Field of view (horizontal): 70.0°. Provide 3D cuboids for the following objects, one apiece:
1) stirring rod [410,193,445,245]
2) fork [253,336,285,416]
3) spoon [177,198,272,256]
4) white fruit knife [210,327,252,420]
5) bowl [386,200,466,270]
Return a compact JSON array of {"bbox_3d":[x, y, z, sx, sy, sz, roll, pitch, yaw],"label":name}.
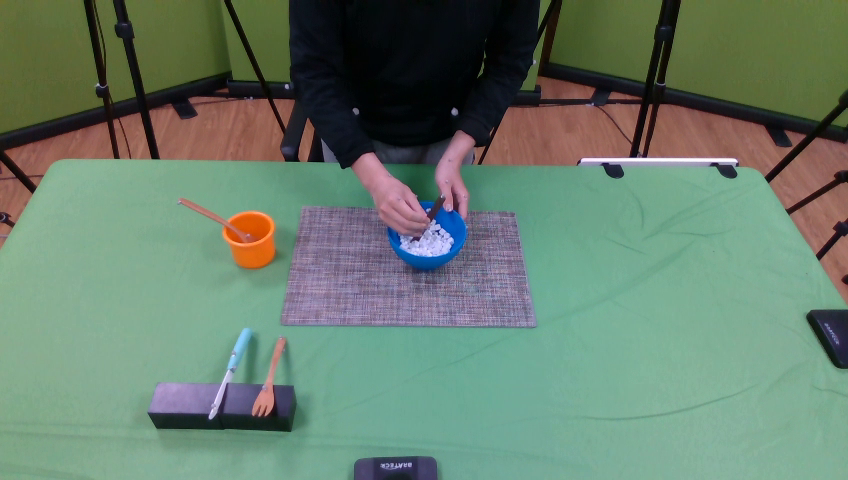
[{"bbox_3d":[0.004,-0.034,1.097,0.014,0.176,0.006,22,56,-7],"label":"stirring rod"},{"bbox_3d":[-0.236,0.206,0.938,0.028,0.019,0.206,-2,26,-3],"label":"fork"},{"bbox_3d":[-0.361,-0.025,1.106,0.021,0.195,0.041,-32,37,29],"label":"spoon"},{"bbox_3d":[-0.298,0.200,0.937,0.016,0.027,0.206,0,30,0],"label":"white fruit knife"},{"bbox_3d":[0.001,0.003,1.150,0.151,0.077,0.150,2,46,-2],"label":"bowl"}]
